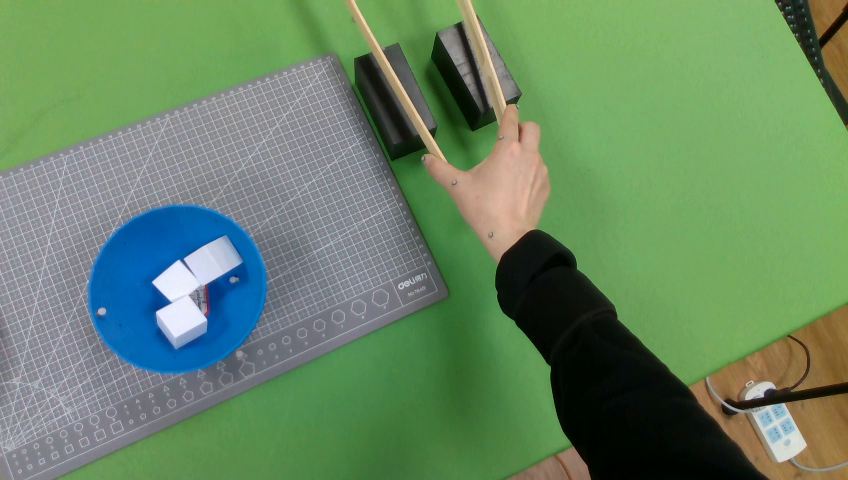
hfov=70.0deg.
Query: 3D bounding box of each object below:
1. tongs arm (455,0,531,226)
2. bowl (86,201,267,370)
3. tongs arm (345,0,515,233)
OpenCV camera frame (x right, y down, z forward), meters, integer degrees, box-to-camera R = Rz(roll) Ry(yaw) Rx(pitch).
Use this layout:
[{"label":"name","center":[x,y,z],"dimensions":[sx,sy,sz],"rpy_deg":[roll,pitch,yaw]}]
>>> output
[{"label":"tongs arm","center":[0.045,-0.199,0.618],"dimensions":[0.028,0.028,0.386],"rpy_deg":[-14,80,-15]},{"label":"bowl","center":[-0.219,0.046,0.567],"dimensions":[0.152,0.077,0.150],"rpy_deg":[1,79,-7]},{"label":"tongs arm","center":[-0.019,-0.174,0.604],"dimensions":[0.051,0.026,0.383],"rpy_deg":[-24,82,-14]}]
